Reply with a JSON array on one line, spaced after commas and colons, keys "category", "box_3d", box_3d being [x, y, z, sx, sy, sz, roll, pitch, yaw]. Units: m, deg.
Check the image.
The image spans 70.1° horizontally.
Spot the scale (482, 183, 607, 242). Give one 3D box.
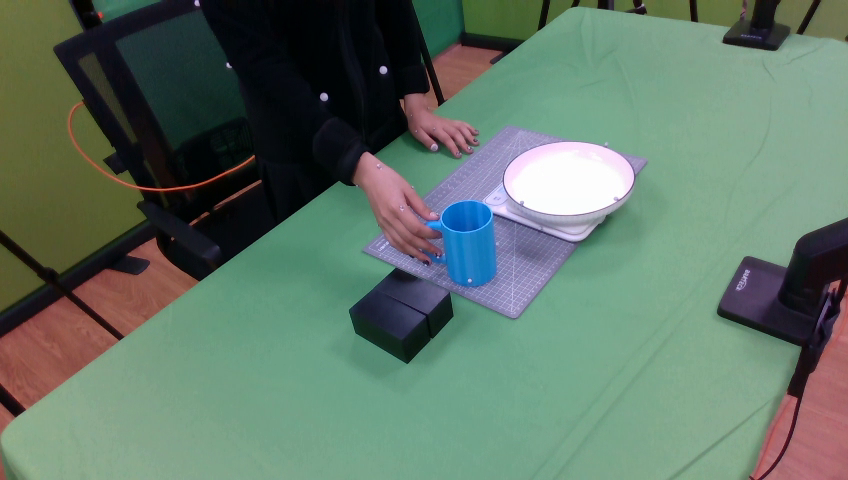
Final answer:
[{"category": "scale", "box_3d": [0.211, -0.070, 1.014, 0.199, 0.032, 0.149, 23, 49, 33]}]

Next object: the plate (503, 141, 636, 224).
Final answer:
[{"category": "plate", "box_3d": [0.233, -0.091, 0.983, 0.209, 0.038, 0.208, -5, 41, 5]}]

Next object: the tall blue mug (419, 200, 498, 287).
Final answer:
[{"category": "tall blue mug", "box_3d": [0.053, 0.010, 0.889, 0.107, 0.108, 0.077, -16, 41, -7]}]
